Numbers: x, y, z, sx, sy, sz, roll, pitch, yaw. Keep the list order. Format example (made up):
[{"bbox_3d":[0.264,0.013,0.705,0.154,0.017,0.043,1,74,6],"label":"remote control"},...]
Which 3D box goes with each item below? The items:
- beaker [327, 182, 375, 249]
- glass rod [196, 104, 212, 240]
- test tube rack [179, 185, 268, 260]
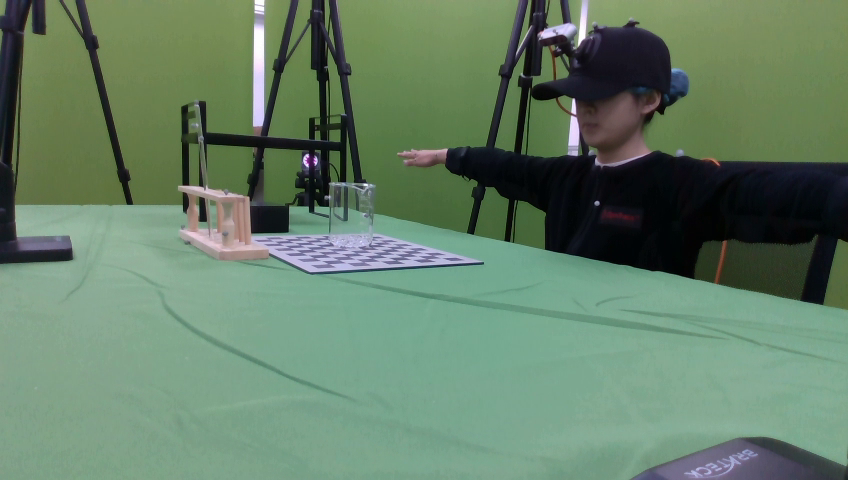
[{"bbox_3d":[-0.114,-0.039,0.950,0.074,0.100,0.083,-2,9,-31],"label":"beaker"},{"bbox_3d":[-0.317,-0.095,0.871,0.008,0.199,0.008,-4,4,1],"label":"glass rod"},{"bbox_3d":[-0.303,-0.031,0.898,0.067,0.085,0.241,-2,9,-33],"label":"test tube rack"}]
